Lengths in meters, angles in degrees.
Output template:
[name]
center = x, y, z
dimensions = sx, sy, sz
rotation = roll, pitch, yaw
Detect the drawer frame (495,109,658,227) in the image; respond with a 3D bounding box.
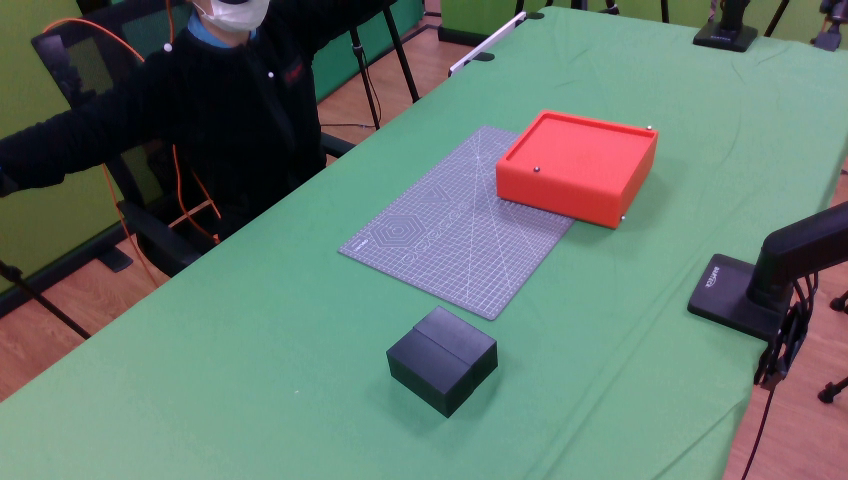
[drawer frame]
center = 0.260, -0.130, 1.031
dimensions = 0.212, 0.083, 0.202
rotation = 18, 46, 26

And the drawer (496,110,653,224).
[drawer]
center = 0.257, -0.130, 1.032
dimensions = 0.210, 0.073, 0.195
rotation = 18, 46, 26

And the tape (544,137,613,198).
[tape]
center = 0.263, -0.125, 1.034
dimensions = 0.117, 0.053, 0.116
rotation = -5, 40, 5
